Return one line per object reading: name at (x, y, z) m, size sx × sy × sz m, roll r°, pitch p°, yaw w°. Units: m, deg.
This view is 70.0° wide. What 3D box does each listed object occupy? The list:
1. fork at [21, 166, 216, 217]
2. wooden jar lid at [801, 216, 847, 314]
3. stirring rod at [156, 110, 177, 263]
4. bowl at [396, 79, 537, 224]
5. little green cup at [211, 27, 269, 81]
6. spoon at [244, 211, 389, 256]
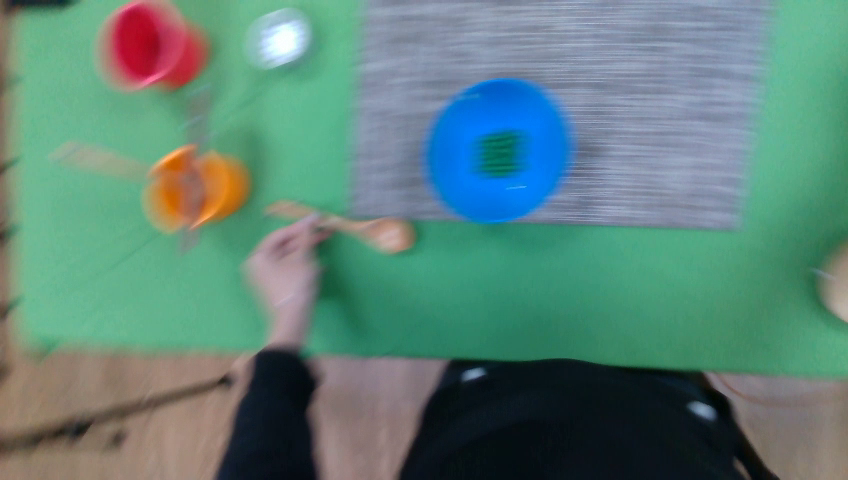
fork at (-0.351, -0.057, 0.712) m, size 0.209 × 0.018 × 0.028 m, roll 12°, pitch 104°, yaw -36°
wooden jar lid at (0.464, 0.026, 0.654) m, size 0.108 × 0.020 × 0.108 m, roll 1°, pitch 98°, yaw 10°
stirring rod at (-0.298, -0.060, 0.701) m, size 0.014 × 0.006 × 0.176 m, roll 1°, pitch 98°, yaw 11°
bowl at (0.050, -0.096, 0.674) m, size 0.151 × 0.077 × 0.151 m, roll 1°, pitch 97°, yaw 10°
little green cup at (-0.218, -0.220, 0.726) m, size 0.061 × 0.038 × 0.061 m, roll 1°, pitch 98°, yaw 10°
spoon at (-0.134, -0.014, 0.746) m, size 0.193 × 0.021 × 0.042 m, roll 11°, pitch 113°, yaw 7°
